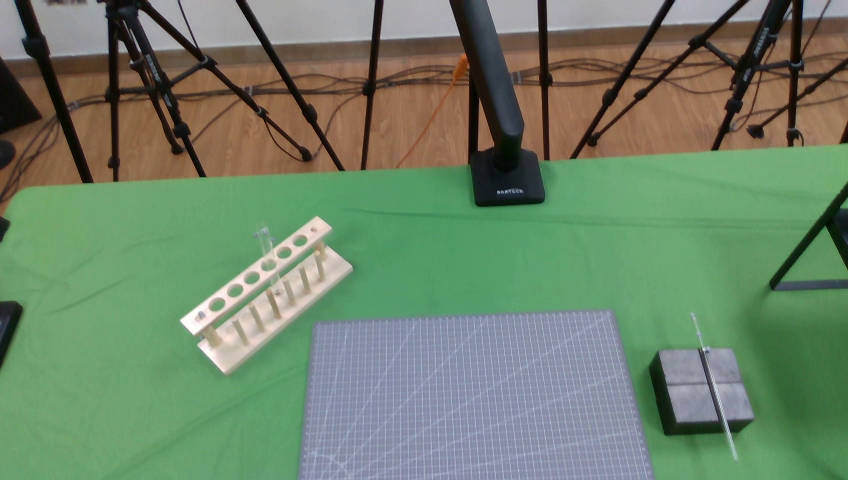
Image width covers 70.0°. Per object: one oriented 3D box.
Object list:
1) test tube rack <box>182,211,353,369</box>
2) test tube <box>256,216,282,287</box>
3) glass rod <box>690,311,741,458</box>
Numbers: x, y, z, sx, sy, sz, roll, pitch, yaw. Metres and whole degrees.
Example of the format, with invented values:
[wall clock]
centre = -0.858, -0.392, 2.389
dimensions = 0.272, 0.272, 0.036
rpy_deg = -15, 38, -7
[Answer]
[test tube rack]
centre = -0.220, 0.070, 0.887
dimensions = 0.066, 0.086, 0.242
rpy_deg = 37, 63, 25
[test tube]
centre = -0.219, 0.020, 0.862
dimensions = 0.017, 0.151, 0.017
rpy_deg = 2, 51, -2
[glass rod]
centre = 0.374, 0.180, 0.781
dimensions = 0.008, 0.008, 0.197
rpy_deg = -2, 54, 0
